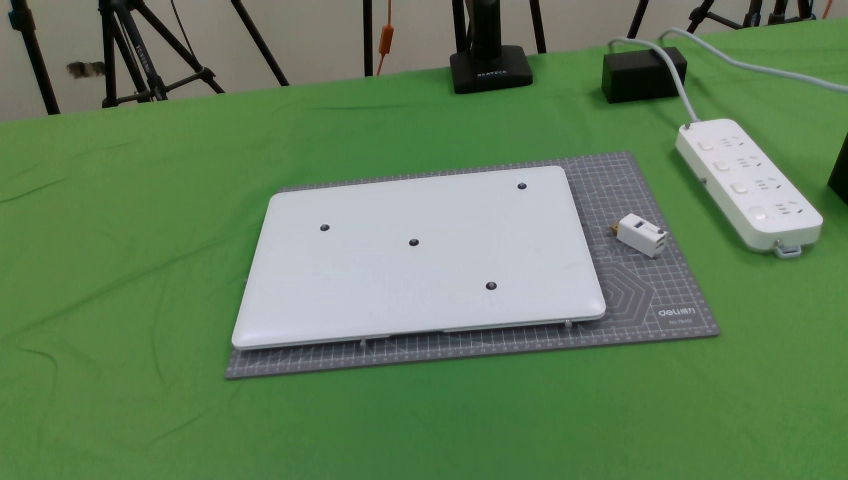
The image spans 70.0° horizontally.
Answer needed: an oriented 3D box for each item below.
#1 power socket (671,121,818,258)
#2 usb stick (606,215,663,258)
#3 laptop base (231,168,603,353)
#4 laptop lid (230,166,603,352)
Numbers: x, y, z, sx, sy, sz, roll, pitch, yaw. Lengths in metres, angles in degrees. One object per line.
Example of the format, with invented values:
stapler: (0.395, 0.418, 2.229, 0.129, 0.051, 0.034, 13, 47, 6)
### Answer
power socket: (0.346, -0.066, 0.671, 0.072, 0.033, 0.224, -7, 41, 0)
usb stick: (0.215, -0.007, 0.626, 0.021, 0.027, 0.058, -31, 42, -25)
laptop base: (-0.011, 0.016, 0.648, 0.354, 0.023, 0.233, -6, 44, 3)
laptop lid: (-0.012, 0.008, 0.639, 0.356, 0.013, 0.239, -5, 43, 4)
